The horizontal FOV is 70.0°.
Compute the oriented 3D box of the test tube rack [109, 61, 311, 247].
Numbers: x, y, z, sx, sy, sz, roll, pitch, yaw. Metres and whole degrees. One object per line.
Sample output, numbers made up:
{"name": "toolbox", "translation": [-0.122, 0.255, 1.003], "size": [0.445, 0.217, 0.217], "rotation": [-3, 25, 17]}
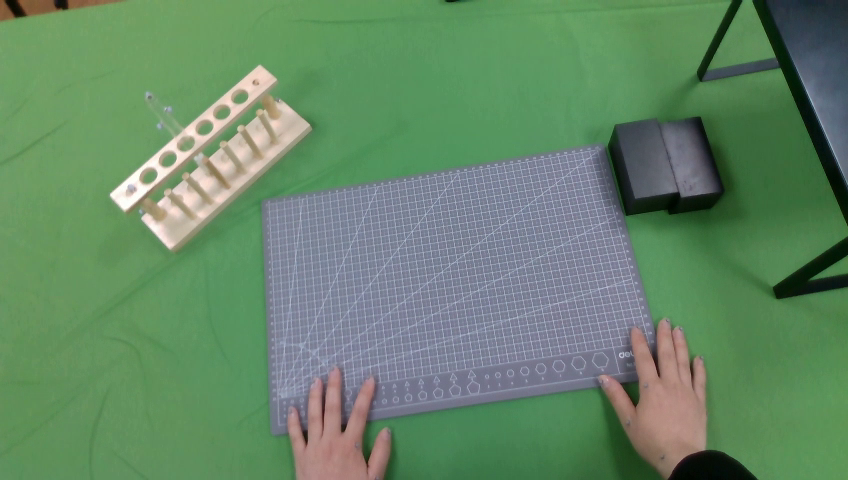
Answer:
{"name": "test tube rack", "translation": [-0.264, -0.108, 0.773], "size": [0.066, 0.086, 0.242], "rotation": [42, 79, 17]}

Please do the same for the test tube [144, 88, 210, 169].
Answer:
{"name": "test tube", "translation": [-0.291, -0.129, 0.730], "size": [0.017, 0.151, 0.017], "rotation": [-3, 64, 6]}
